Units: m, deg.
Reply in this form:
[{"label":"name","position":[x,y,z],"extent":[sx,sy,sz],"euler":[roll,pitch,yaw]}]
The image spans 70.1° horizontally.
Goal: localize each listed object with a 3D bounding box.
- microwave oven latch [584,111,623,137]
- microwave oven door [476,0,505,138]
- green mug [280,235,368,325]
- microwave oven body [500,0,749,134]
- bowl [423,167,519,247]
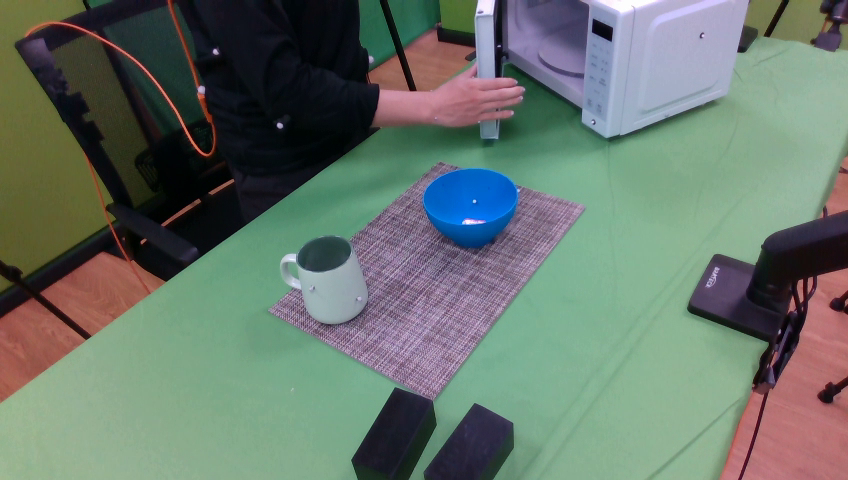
[{"label":"microwave oven latch","position":[0.337,-0.222,1.142],"extent":[0.030,0.029,0.078],"euler":[-21,42,-14]},{"label":"microwave oven door","position":[0.139,-0.404,1.224],"extent":[0.039,0.245,0.354],"euler":[-1,41,10]},{"label":"green mug","position":[-0.146,0.055,0.857],"extent":[0.125,0.105,0.092],"euler":[8,43,17]},{"label":"microwave oven body","position":[0.382,-0.444,1.246],"extent":[0.327,0.261,0.437],"euler":[-22,42,-16]},{"label":"bowl","position":[0.075,-0.041,0.958],"extent":[0.151,0.077,0.150],"euler":[-4,40,4]}]
